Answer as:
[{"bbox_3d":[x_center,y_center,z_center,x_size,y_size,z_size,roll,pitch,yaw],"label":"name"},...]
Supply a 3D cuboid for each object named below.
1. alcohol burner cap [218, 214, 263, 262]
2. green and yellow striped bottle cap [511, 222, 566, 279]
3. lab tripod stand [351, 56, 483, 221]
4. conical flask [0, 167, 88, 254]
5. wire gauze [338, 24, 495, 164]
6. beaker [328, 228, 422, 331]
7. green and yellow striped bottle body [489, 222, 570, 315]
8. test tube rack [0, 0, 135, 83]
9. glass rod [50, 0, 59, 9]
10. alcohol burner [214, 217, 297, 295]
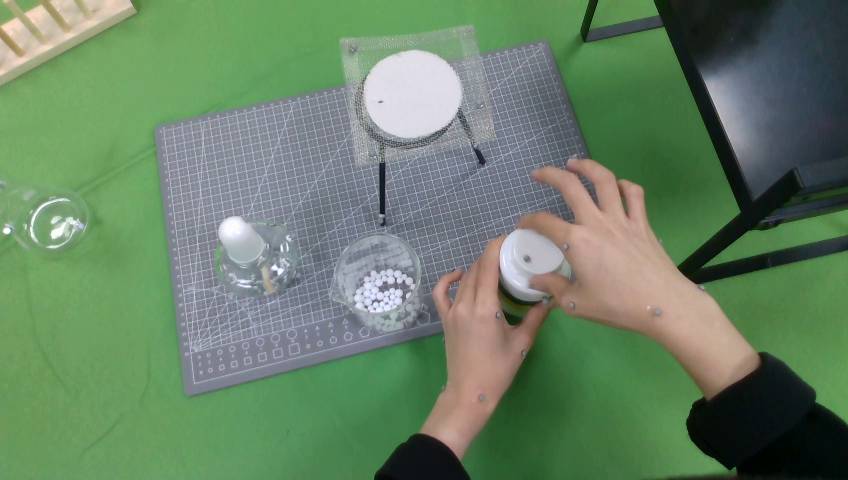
[{"bbox_3d":[-0.163,-0.004,0.528,0.034,0.048,0.033,0,64,0],"label":"alcohol burner cap"},{"bbox_3d":[0.094,0.008,0.495,0.045,0.020,0.045,-2,71,5],"label":"green and yellow striped bottle cap"},{"bbox_3d":[-0.012,-0.103,0.585,0.148,0.132,0.147,0,70,1],"label":"lab tripod stand"},{"bbox_3d":[-0.390,-0.038,0.582,0.075,0.122,0.075,-1,71,2],"label":"conical flask"},{"bbox_3d":[-0.008,-0.130,0.523,0.121,0.011,0.124,-8,72,-3],"label":"wire gauze"},{"bbox_3d":[-0.040,0.043,0.556,0.084,0.101,0.073,-25,72,-5],"label":"beaker"},{"bbox_3d":[0.094,0.025,0.547,0.063,0.120,0.063,0,71,2],"label":"green and yellow striped bottle body"},{"bbox_3d":[-0.463,-0.246,0.671,0.242,0.086,0.066,-33,74,-9],"label":"test tube rack"},{"bbox_3d":[-0.427,-0.311,0.622,0.008,0.201,0.008,1,69,-2],"label":"glass rod"},{"bbox_3d":[-0.161,0.009,0.563,0.078,0.120,0.077,0,70,0],"label":"alcohol burner"}]
